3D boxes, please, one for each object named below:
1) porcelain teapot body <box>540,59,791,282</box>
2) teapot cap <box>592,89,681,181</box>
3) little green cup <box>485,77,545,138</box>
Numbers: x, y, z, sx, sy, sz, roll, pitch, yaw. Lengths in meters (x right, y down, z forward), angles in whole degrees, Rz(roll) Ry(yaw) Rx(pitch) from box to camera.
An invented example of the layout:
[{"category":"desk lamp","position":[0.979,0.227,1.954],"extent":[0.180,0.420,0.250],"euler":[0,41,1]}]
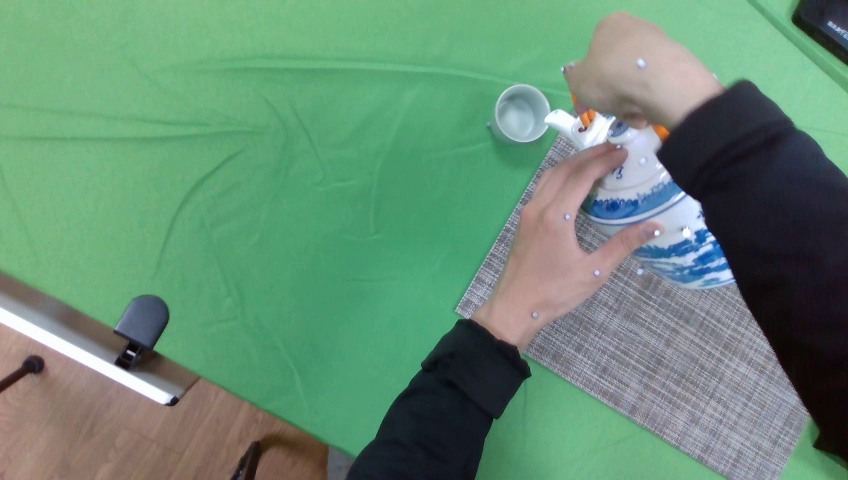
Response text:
[{"category":"porcelain teapot body","position":[0.185,-0.076,0.540],"extent":[0.227,0.203,0.145],"euler":[32,93,-30]},{"category":"teapot cap","position":[0.168,-0.088,0.493],"extent":[0.044,0.084,0.085],"euler":[32,83,-28]},{"category":"little green cup","position":[0.096,-0.140,0.656],"extent":[0.062,0.038,0.061],"euler":[0,88,-11]}]
